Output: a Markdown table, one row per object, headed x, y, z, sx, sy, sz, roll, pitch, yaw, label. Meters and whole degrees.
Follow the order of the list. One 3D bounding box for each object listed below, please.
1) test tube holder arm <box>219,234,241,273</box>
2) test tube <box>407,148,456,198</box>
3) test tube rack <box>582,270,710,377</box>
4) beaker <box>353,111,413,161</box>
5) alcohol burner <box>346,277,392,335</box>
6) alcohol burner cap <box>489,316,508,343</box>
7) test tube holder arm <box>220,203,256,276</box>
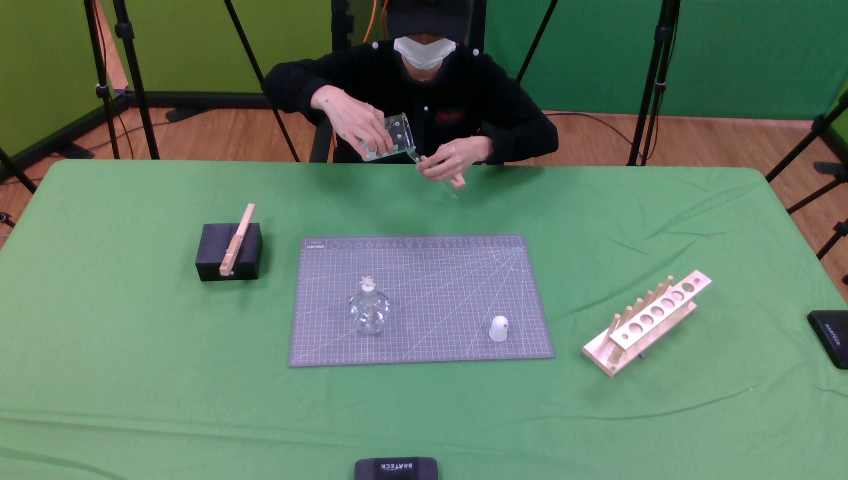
| x | y | z | sx | sy | sz | roll | pitch | yaw | label |
| --- | --- | --- | --- | --- | --- | --- | --- | --- | --- |
| -0.344 | 0.023 | 1.076 | 0.015 | 0.010 | 0.087 | 5 | 45 | 1 | test tube holder arm |
| 0.017 | -0.131 | 1.212 | 0.017 | 0.151 | 0.017 | -29 | 39 | 26 | test tube |
| 0.389 | 0.132 | 1.057 | 0.242 | 0.085 | 0.066 | -28 | 54 | -28 | test tube rack |
| -0.078 | -0.191 | 1.143 | 0.100 | 0.084 | 0.073 | -15 | 37 | -6 | beaker |
| -0.093 | 0.106 | 1.021 | 0.078 | 0.120 | 0.077 | 1 | 46 | -1 | alcohol burner |
| 0.130 | 0.151 | 1.045 | 0.034 | 0.048 | 0.033 | 2 | 46 | -2 | alcohol burner cap |
| -0.340 | -0.005 | 1.112 | 0.015 | 0.013 | 0.177 | 5 | 46 | 1 | test tube holder arm |
